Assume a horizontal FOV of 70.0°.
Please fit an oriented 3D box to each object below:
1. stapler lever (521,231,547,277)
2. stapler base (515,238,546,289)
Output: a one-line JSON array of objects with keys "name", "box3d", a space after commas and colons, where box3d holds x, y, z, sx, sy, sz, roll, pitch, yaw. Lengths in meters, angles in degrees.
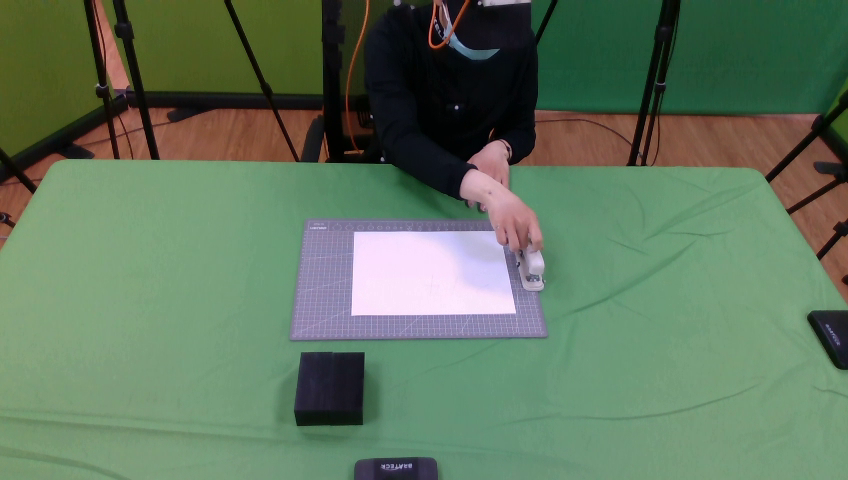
[{"name": "stapler lever", "box3d": [0.207, 0.019, 1.149, 0.027, 0.040, 0.117, 2, 44, -7]}, {"name": "stapler base", "box3d": [0.206, 0.038, 1.166, 0.041, 0.024, 0.129, 2, 44, -7]}]
